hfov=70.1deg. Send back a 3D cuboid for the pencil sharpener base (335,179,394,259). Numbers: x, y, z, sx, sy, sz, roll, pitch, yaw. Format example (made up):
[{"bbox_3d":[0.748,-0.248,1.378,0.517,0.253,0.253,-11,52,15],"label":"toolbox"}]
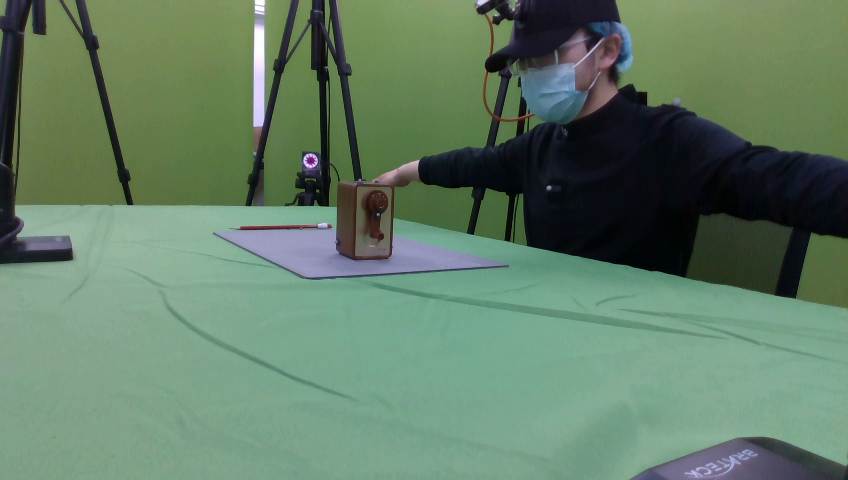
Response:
[{"bbox_3d":[-0.084,-0.030,0.855,0.061,0.107,0.076,-1,8,-29],"label":"pencil sharpener base"}]

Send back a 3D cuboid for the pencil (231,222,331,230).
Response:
[{"bbox_3d":[-0.272,-0.026,1.165,0.195,0.012,0.012,-3,9,-29],"label":"pencil"}]

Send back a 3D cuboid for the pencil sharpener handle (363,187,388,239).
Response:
[{"bbox_3d":[-0.061,-0.035,0.809,0.036,0.067,0.030,4,6,-29],"label":"pencil sharpener handle"}]
